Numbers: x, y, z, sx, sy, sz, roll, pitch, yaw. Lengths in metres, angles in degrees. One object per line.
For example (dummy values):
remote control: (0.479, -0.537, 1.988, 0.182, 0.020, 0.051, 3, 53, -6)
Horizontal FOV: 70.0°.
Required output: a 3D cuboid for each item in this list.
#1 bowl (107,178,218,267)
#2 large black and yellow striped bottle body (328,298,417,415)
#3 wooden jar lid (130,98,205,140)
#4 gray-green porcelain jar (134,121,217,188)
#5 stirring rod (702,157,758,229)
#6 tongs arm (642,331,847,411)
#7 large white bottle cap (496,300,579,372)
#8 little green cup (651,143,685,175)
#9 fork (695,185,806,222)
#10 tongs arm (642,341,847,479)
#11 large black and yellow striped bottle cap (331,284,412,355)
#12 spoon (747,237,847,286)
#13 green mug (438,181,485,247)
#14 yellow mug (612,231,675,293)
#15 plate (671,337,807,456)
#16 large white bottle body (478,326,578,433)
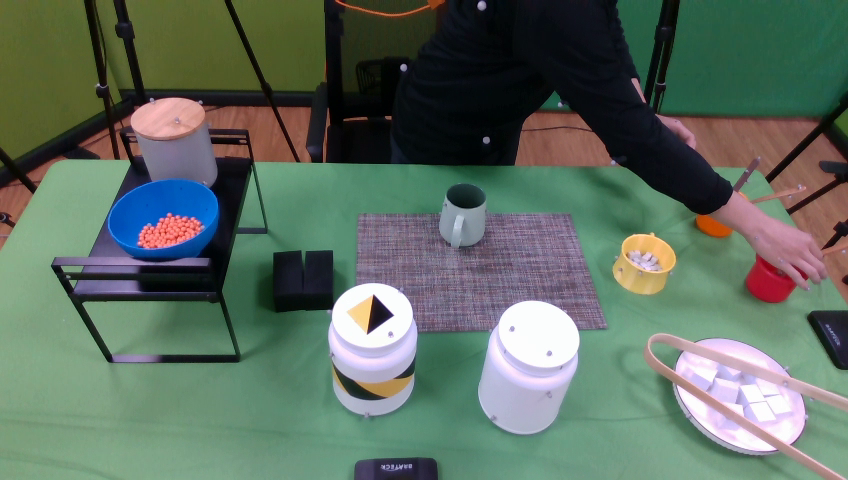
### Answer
bowl: (-0.374, -0.014, 0.893, 0.151, 0.077, 0.150, 2, 46, -2)
large black and yellow striped bottle body: (-0.078, 0.167, 0.920, 0.131, 0.185, 0.130, 2, 46, -2)
wooden jar lid: (-0.393, -0.183, 0.934, 0.108, 0.021, 0.107, 3, 44, -2)
gray-green porcelain jar: (-0.397, -0.141, 0.980, 0.106, 0.127, 0.105, 2, 47, -2)
stirring rod: (0.634, -0.097, 1.257, 0.014, 0.006, 0.176, 38, 97, 29)
tongs arm: (0.546, 0.227, 0.968, 0.384, 0.026, 0.050, 22, 52, 13)
large white bottle cap: (0.159, 0.133, 0.852, 0.115, 0.018, 0.114, 3, 46, -3)
little green cup: (0.493, -0.162, 1.229, 0.061, 0.039, 0.061, 1, 48, -1)
fork: (0.658, -0.074, 1.229, 0.207, 0.019, 0.028, -23, 35, 37)
tongs arm: (0.504, 0.278, 0.918, 0.386, 0.028, 0.028, 34, 59, 22)
large black and yellow striped bottle cap: (-0.073, 0.110, 0.857, 0.115, 0.019, 0.114, 2, 46, -2)
spoon: (0.700, 0.039, 1.125, 0.022, 0.194, 0.041, 46, 31, -17)
green mug: (0.071, -0.039, 1.177, 0.092, 0.105, 0.124, 12, 47, 7)
yellow mug: (0.424, 0.033, 1.168, 0.100, 0.064, 0.130, 18, 47, 13)
plate: (0.504, 0.254, 0.984, 0.208, 0.039, 0.206, 2, 46, -2)
large white bottle body: (0.156, 0.192, 0.913, 0.131, 0.185, 0.130, 2, 46, -2)
